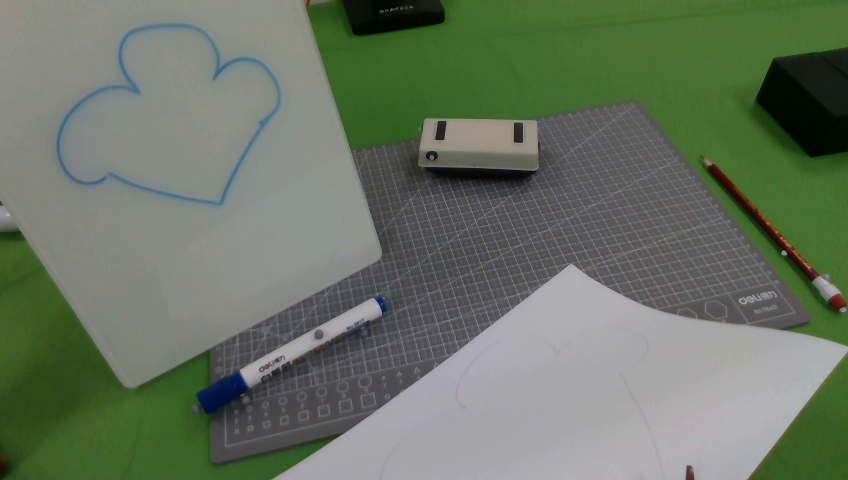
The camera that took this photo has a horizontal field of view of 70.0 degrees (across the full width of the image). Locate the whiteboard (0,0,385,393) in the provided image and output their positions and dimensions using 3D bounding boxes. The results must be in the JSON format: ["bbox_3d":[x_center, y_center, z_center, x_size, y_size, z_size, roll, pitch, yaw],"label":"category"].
[{"bbox_3d":[-0.189,-0.087,0.447,0.217,0.308,0.142,-28,33,-20],"label":"whiteboard"}]

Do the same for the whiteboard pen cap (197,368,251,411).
[{"bbox_3d":[-0.139,0.104,0.422,0.033,0.018,0.018,-29,53,-20],"label":"whiteboard pen cap"}]

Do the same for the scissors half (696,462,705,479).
[{"bbox_3d":[0.124,0.191,0.292,0.013,0.175,0.040,4,7,-2],"label":"scissors half"}]

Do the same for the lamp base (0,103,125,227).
[{"bbox_3d":[-0.387,-0.127,0.533,0.178,0.182,0.160,19,51,21],"label":"lamp base"}]

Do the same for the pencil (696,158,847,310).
[{"bbox_3d":[0.295,-0.014,0.530,0.012,0.012,0.192,-14,47,-10],"label":"pencil"}]

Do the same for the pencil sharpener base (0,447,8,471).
[{"bbox_3d":[-0.319,0.124,0.355,0.061,0.108,0.076,27,55,23],"label":"pencil sharpener base"}]

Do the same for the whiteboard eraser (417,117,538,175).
[{"bbox_3d":[0.052,-0.089,0.576,0.112,0.042,0.055,3,49,4],"label":"whiteboard eraser"}]

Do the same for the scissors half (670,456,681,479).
[{"bbox_3d":[0.126,0.186,0.268,0.013,0.040,0.173,5,60,-7],"label":"scissors half"}]

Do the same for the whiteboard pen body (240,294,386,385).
[{"bbox_3d":[-0.090,0.078,0.443,0.141,0.017,0.017,-28,53,-20],"label":"whiteboard pen body"}]
